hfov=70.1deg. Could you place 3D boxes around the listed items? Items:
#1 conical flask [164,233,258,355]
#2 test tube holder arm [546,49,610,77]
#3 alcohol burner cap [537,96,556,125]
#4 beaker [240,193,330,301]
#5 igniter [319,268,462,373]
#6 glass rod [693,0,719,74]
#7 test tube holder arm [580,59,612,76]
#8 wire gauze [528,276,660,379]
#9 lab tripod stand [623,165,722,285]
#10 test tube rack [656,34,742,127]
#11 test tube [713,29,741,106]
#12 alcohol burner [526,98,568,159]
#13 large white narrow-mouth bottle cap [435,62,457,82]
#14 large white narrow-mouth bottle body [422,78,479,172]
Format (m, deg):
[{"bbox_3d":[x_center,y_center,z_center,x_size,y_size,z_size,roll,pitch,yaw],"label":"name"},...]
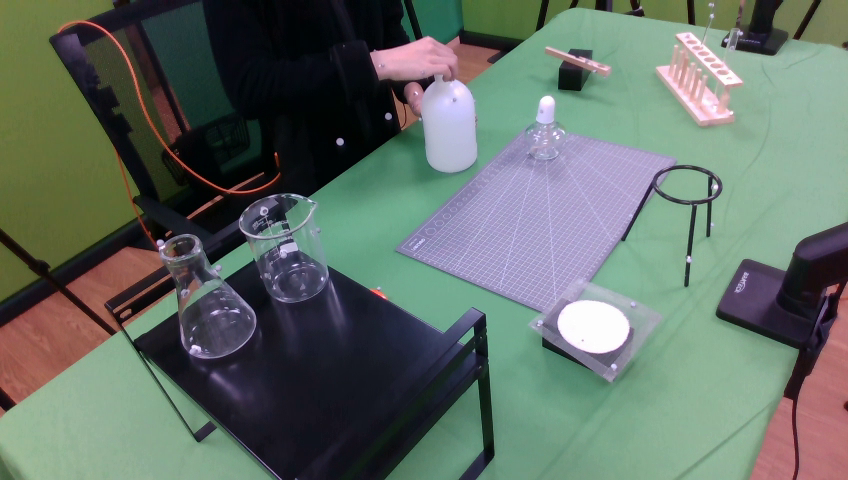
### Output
[{"bbox_3d":[-0.217,0.051,0.601,0.075,0.122,0.075,-4,40,4],"label":"conical flask"},{"bbox_3d":[0.331,-0.387,1.315,0.013,0.015,0.177,-26,43,-28],"label":"test tube holder arm"},{"bbox_3d":[0.223,-0.237,1.095,0.034,0.048,0.033,-1,42,1],"label":"alcohol burner cap"},{"bbox_3d":[-0.144,0.009,0.656,0.084,0.101,0.073,-25,43,-19],"label":"beaker"},{"bbox_3d":[-0.059,0.107,0.862,0.274,0.025,0.057,28,62,34],"label":"igniter"},{"bbox_3d":[0.560,-0.401,1.214,0.008,0.200,0.008,-1,48,2],"label":"glass rod"},{"bbox_3d":[0.363,-0.368,1.289,0.010,0.015,0.087,-27,43,-29],"label":"test tube holder arm"},{"bbox_3d":[0.214,0.103,0.763,0.124,0.011,0.122,30,52,35],"label":"wire gauze"},{"bbox_3d":[0.365,-0.030,0.874,0.148,0.132,0.147,-6,41,6],"label":"lab tripod stand"},{"bbox_3d":[0.553,-0.330,1.233,0.067,0.085,0.241,-7,40,2],"label":"test tube rack"},{"bbox_3d":[0.572,-0.324,1.146,0.017,0.151,0.017,-3,39,3],"label":"test tube"},{"bbox_3d":[0.228,-0.210,1.118,0.078,0.119,0.077,-5,43,5],"label":"alcohol burner"},{"bbox_3d":[0.039,-0.293,1.054,0.038,0.024,0.037,-4,41,4],"label":"large white narrow-mouth bottle cap"},{"bbox_3d":[0.048,-0.229,1.111,0.102,0.195,0.101,-4,41,4],"label":"large white narrow-mouth bottle body"}]
